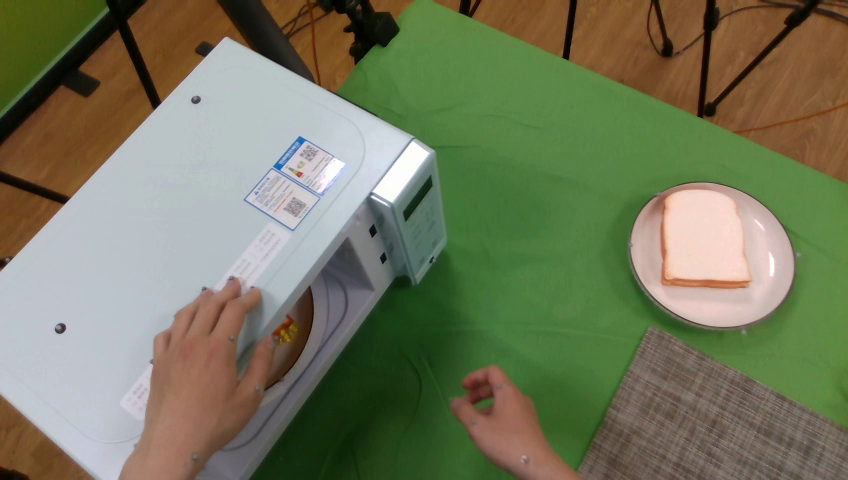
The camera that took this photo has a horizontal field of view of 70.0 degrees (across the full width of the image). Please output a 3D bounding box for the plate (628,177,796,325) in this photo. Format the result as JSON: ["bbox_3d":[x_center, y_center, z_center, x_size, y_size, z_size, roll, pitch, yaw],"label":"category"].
[{"bbox_3d":[0.375,0.015,0.804,0.207,0.039,0.206,-2,67,4],"label":"plate"}]

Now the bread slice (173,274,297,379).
[{"bbox_3d":[-0.243,0.111,0.761,0.131,0.019,0.104,-37,68,-28],"label":"bread slice"}]

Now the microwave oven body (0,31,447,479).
[{"bbox_3d":[-0.228,0.037,0.722,0.324,0.262,0.440,31,73,16],"label":"microwave oven body"}]

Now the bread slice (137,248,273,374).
[{"bbox_3d":[-0.245,0.072,0.702,0.106,0.018,0.134,41,67,11],"label":"bread slice"}]

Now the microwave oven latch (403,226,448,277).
[{"bbox_3d":[0.002,0.010,0.819,0.030,0.030,0.079,34,74,17],"label":"microwave oven latch"}]

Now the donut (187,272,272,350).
[{"bbox_3d":[-0.233,0.085,0.729,0.099,0.048,0.098,3,62,-5],"label":"donut"}]

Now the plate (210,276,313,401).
[{"bbox_3d":[-0.238,0.095,0.753,0.209,0.038,0.207,-1,68,4],"label":"plate"}]
